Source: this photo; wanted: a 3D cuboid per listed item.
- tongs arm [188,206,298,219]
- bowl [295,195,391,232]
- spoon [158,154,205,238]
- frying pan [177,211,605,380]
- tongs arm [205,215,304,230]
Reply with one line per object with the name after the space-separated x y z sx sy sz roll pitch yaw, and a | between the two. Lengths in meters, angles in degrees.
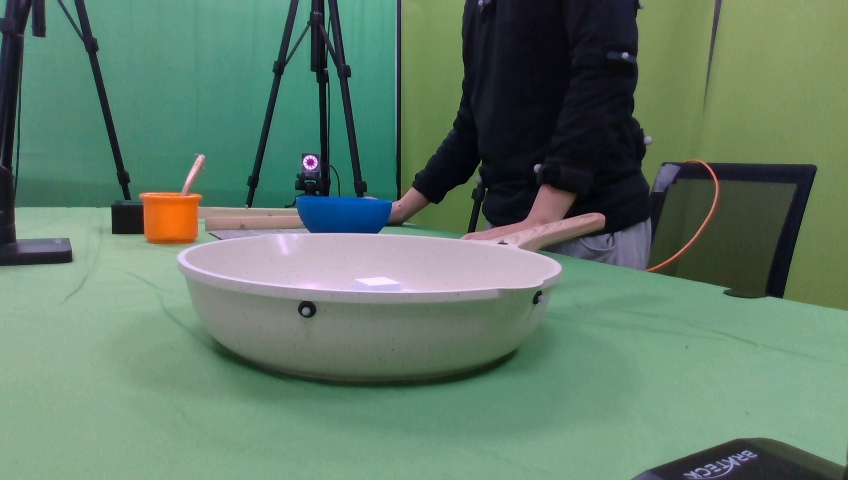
-0.302 -0.055 1.308 0.387 0.026 0.050 -1 8 -29 | tongs arm
-0.127 -0.027 0.946 0.151 0.077 0.151 2 7 0 | bowl
-0.392 -0.076 0.998 0.041 0.193 0.021 1 -36 6 | spoon
0.035 0.019 0.556 0.490 0.102 0.305 -15 18 -42 | frying pan
-0.258 -0.041 1.242 0.390 0.028 0.028 -4 7 -42 | tongs arm
